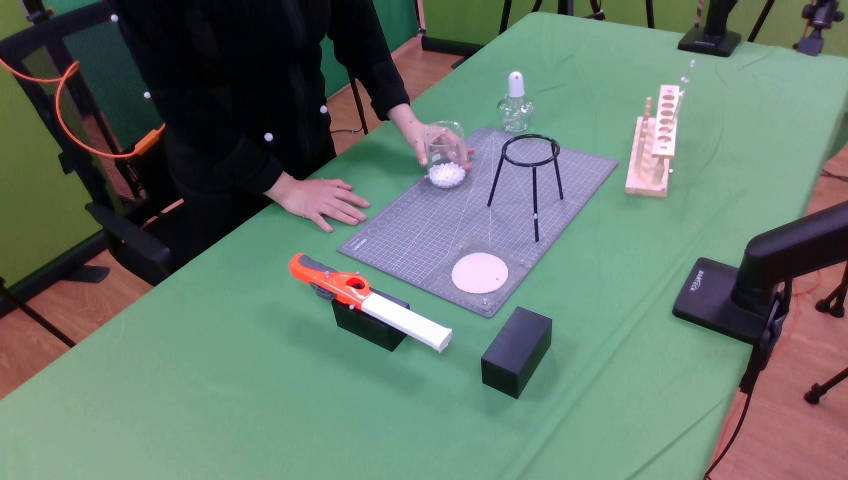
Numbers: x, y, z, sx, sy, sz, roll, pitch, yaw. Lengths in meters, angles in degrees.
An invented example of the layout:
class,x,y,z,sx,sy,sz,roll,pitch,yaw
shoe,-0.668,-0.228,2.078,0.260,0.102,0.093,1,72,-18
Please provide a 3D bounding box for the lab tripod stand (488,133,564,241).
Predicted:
class,x,y,z,sx,sy,sz,roll,pitch,yaw
lab tripod stand,0.168,-0.092,0.972,0.148,0.132,0.147,-5,41,5

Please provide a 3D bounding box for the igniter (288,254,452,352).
class,x,y,z,sx,sy,sz,roll,pitch,yaw
igniter,-0.083,0.079,0.818,0.274,0.025,0.057,23,45,27

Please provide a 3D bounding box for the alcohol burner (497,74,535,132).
class,x,y,z,sx,sy,sz,roll,pitch,yaw
alcohol burner,0.184,-0.278,1.209,0.078,0.119,0.077,-3,43,3

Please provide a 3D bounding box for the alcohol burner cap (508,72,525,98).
class,x,y,z,sx,sy,sz,roll,pitch,yaw
alcohol burner cap,0.181,-0.306,1.186,0.034,0.048,0.033,-7,39,6

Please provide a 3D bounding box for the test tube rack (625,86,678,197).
class,x,y,z,sx,sy,sz,roll,pitch,yaw
test tube rack,0.412,-0.184,1.088,0.066,0.085,0.242,9,43,18

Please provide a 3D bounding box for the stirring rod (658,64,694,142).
class,x,y,z,sx,sy,sz,roll,pitch,yaw
stirring rod,0.409,-0.213,1.000,0.006,0.176,0.014,37,57,25

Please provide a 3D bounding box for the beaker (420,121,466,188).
class,x,y,z,sx,sy,sz,roll,pitch,yaw
beaker,0.038,-0.150,1.071,0.073,0.101,0.084,31,57,33

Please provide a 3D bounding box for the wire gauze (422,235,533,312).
class,x,y,z,sx,sy,sz,roll,pitch,yaw
wire gauze,0.081,0.049,0.914,0.120,0.011,0.125,26,52,32
